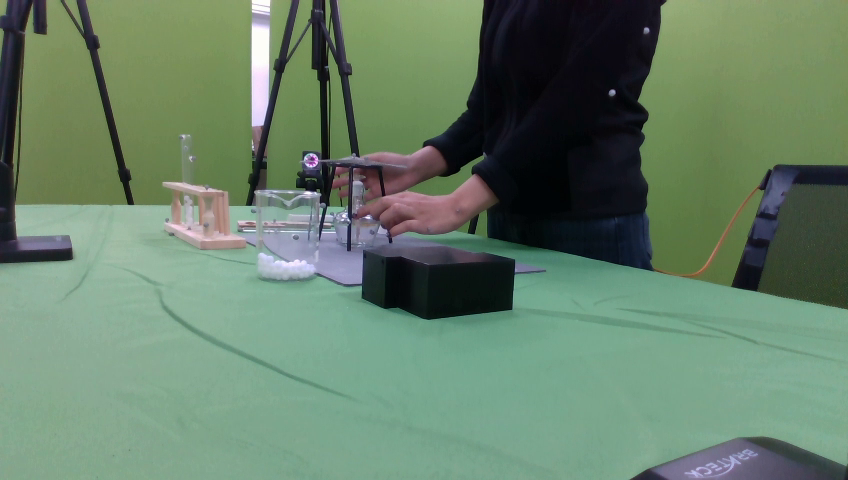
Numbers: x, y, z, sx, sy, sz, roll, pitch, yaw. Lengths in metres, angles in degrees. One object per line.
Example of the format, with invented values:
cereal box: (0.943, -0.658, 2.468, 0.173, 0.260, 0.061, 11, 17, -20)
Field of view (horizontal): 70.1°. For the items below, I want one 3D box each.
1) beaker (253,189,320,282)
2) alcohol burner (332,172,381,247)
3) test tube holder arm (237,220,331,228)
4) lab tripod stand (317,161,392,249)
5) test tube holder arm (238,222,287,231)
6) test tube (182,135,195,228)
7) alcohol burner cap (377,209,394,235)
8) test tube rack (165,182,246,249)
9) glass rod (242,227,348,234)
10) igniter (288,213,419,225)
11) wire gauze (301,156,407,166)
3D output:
beaker: (-0.156, -0.005, 0.689, 0.074, 0.100, 0.083, 0, 8, -14)
alcohol burner: (-0.107, -0.048, 0.961, 0.078, 0.119, 0.078, 1, 9, 0)
test tube holder arm: (-0.261, -0.029, 1.141, 0.179, 0.015, 0.013, -2, 43, -33)
lab tripod stand: (-0.111, -0.059, 0.963, 0.148, 0.131, 0.148, 4, 9, 0)
test tube holder arm: (-0.297, -0.024, 1.113, 0.088, 0.015, 0.010, -2, 42, -33)
test tube: (-0.382, -0.095, 0.983, 0.017, 0.150, 0.017, -1, 2, 0)
alcohol burner cap: (-0.072, -0.035, 1.145, 0.034, 0.048, 0.034, 2, 7, 0)
test tube rack: (-0.360, -0.044, 0.982, 0.067, 0.085, 0.241, -3, 9, -34)
glass rod: (-0.232, -0.017, 1.110, 0.201, 0.008, 0.008, 2, 6, -30)
igniter: (-0.145, -0.044, 1.278, 0.278, 0.025, 0.057, -1, -2, -21)
wire gauze: (-0.112, -0.127, 0.966, 0.121, 0.011, 0.126, 10, 11, 38)
